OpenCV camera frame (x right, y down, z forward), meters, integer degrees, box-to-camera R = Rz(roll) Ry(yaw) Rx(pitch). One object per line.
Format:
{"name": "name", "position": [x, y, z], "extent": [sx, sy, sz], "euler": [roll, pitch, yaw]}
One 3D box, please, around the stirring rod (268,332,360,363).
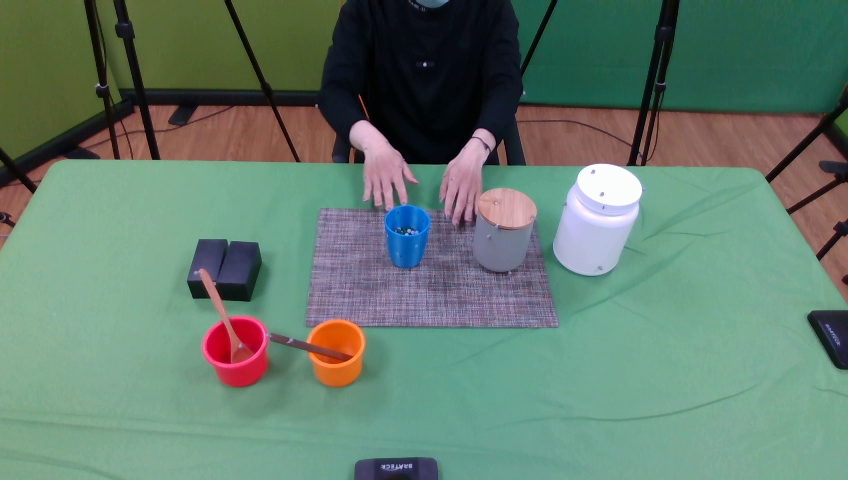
{"name": "stirring rod", "position": [-0.167, 0.169, 0.941], "extent": [0.177, 0.006, 0.014], "euler": [26, 27, -41]}

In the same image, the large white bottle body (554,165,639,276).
{"name": "large white bottle body", "position": [0.326, -0.037, 1.141], "extent": [0.131, 0.185, 0.130], "euler": [2, 46, -2]}

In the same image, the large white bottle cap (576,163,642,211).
{"name": "large white bottle cap", "position": [0.330, -0.096, 1.080], "extent": [0.115, 0.018, 0.114], "euler": [2, 46, -2]}

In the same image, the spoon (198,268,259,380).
{"name": "spoon", "position": [-0.312, 0.132, 0.962], "extent": [0.041, 0.021, 0.194], "euler": [-24, 96, -21]}

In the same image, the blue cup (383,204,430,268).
{"name": "blue cup", "position": [-0.034, -0.002, 1.135], "extent": [0.093, 0.101, 0.092], "euler": [2, 46, -2]}

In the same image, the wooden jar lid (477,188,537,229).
{"name": "wooden jar lid", "position": [0.149, -0.054, 1.094], "extent": [0.108, 0.021, 0.107], "euler": [4, 45, -4]}

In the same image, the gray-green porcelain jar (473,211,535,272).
{"name": "gray-green porcelain jar", "position": [0.147, -0.011, 1.139], "extent": [0.106, 0.127, 0.105], "euler": [2, 46, -2]}
